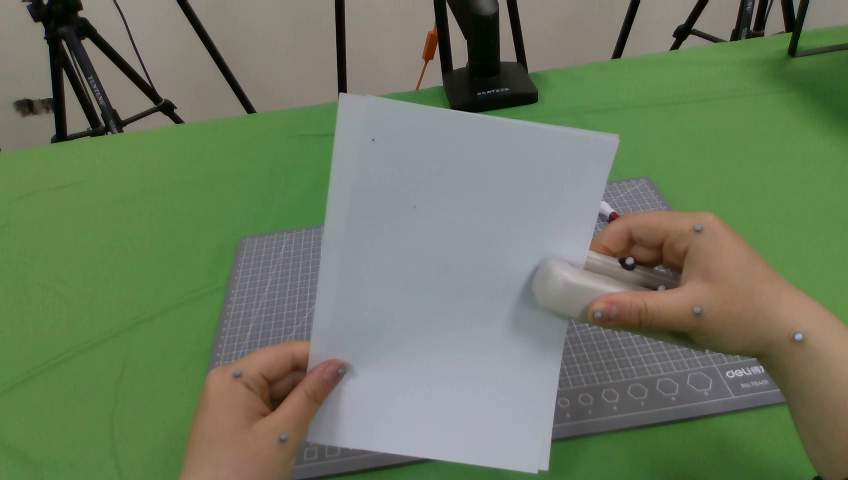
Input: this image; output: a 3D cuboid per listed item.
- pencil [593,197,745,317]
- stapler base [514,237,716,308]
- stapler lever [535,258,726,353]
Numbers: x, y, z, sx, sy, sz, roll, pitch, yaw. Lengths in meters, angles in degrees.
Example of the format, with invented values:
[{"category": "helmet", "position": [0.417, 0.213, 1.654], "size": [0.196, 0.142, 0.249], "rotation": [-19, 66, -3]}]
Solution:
[{"category": "pencil", "position": [0.218, 0.010, 0.557], "size": [0.012, 0.012, 0.192], "rotation": [-21, 41, -16]}, {"category": "stapler base", "position": [0.121, 0.035, 0.371], "size": [0.131, 0.041, 0.024], "rotation": [16, 21, -13]}, {"category": "stapler lever", "position": [0.123, 0.040, 0.356], "size": [0.118, 0.027, 0.040], "rotation": [19, 20, -4]}]
